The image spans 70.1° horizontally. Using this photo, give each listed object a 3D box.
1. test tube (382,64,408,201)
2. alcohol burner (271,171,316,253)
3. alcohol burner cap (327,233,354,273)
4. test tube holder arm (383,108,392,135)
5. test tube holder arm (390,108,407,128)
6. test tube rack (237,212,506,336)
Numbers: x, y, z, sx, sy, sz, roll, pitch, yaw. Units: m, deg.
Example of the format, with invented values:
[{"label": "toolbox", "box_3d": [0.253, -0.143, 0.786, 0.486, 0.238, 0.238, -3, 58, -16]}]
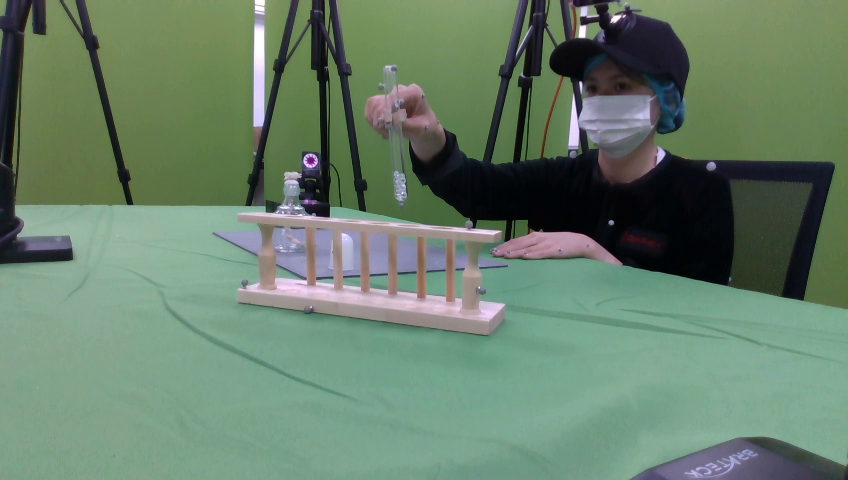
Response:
[{"label": "test tube", "box_3d": [-0.032, -0.118, 0.667, 0.017, 0.150, 0.017, -5, 2, 0]}, {"label": "alcohol burner", "box_3d": [-0.195, -0.041, 0.884, 0.078, 0.119, 0.078, 3, 5, 0]}, {"label": "alcohol burner cap", "box_3d": [-0.104, 0.016, 0.752, 0.034, 0.048, 0.034, 3, 7, 0]}, {"label": "test tube holder arm", "box_3d": [-0.044, -0.142, 0.734, 0.013, 0.015, 0.178, -3, 5, -5]}, {"label": "test tube holder arm", "box_3d": [-0.033, -0.139, 0.690, 0.010, 0.015, 0.087, -4, 5, -13]}, {"label": "test tube rack", "box_3d": [-0.049, 0.024, 0.552, 0.242, 0.085, 0.067, 5, 8, 18]}]
